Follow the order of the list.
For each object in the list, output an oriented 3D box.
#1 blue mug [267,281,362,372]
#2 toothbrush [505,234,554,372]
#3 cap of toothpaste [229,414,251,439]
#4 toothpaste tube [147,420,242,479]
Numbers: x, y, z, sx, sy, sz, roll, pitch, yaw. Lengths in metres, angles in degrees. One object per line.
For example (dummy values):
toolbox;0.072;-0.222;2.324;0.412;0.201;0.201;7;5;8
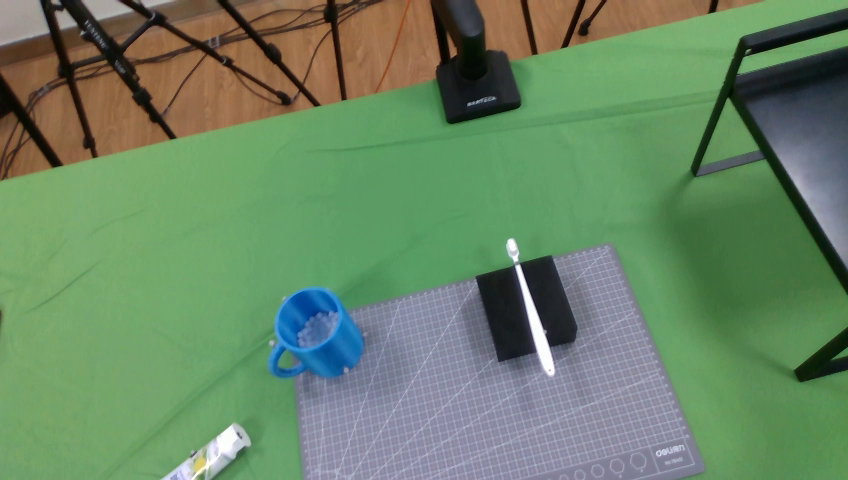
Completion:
blue mug;-0.141;0.120;0.750;0.116;0.107;0.081;-40;63;-11
toothbrush;0.126;0.071;0.728;0.014;0.017;0.180;-11;61;-4
cap of toothpaste;-0.228;0.231;0.747;0.011;0.038;0.037;-40;63;-8
toothpaste tube;-0.290;0.280;0.738;0.165;0.035;0.054;-40;59;-8
